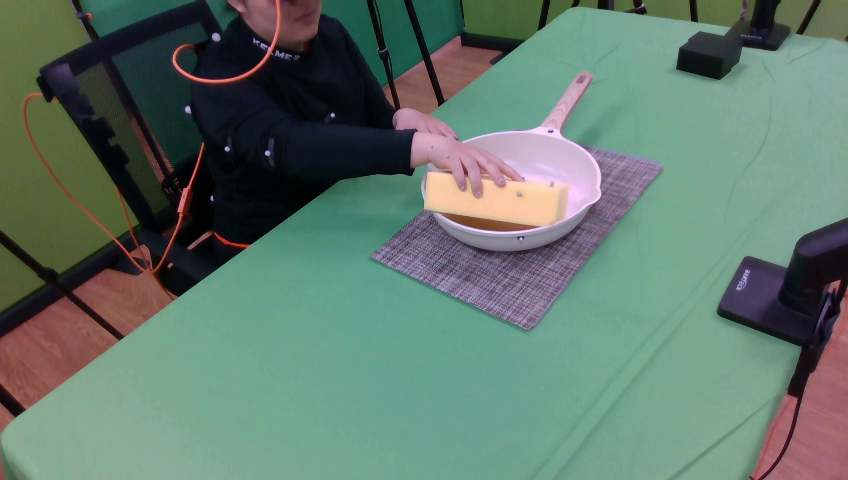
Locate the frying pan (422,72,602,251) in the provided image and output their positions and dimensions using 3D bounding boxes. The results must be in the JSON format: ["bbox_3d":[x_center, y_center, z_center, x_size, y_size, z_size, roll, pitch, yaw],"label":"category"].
[{"bbox_3d":[0.199,-0.155,1.062,0.304,0.103,0.488,19,56,28],"label":"frying pan"}]

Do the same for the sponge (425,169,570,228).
[{"bbox_3d":[0.119,-0.069,0.959,0.206,0.061,0.118,9,12,17],"label":"sponge"}]
